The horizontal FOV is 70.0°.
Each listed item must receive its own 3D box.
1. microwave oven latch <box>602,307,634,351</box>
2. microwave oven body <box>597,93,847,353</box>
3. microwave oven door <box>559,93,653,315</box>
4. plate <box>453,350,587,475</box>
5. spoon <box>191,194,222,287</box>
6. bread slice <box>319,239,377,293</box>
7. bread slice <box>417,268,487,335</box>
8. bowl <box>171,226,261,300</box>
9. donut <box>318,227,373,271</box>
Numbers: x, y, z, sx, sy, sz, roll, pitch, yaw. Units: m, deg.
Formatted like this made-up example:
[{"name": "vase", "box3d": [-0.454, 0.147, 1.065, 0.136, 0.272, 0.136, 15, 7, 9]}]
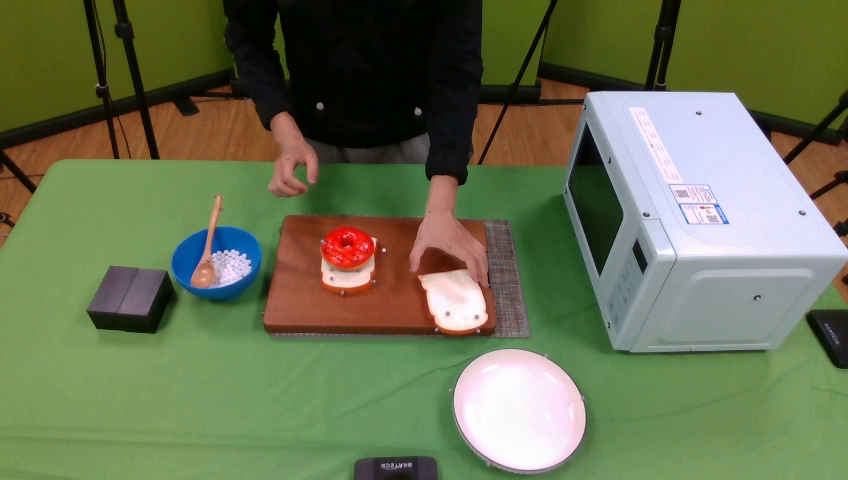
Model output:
[{"name": "microwave oven latch", "box3d": [0.332, 0.153, 1.044, 0.030, 0.029, 0.078, -1, 45, -4]}, {"name": "microwave oven body", "box3d": [0.475, -0.041, 1.109, 0.326, 0.261, 0.438, -1, 45, -4]}, {"name": "microwave oven door", "box3d": [0.327, -0.074, 1.123, 0.039, 0.245, 0.353, -1, 46, -5]}, {"name": "plate", "box3d": [0.147, 0.267, 0.943, 0.208, 0.039, 0.206, 2, 45, -2]}, {"name": "spoon", "box3d": [-0.383, 0.000, 1.088, 0.041, 0.022, 0.193, -1, 66, 6]}, {"name": "bread slice", "box3d": [-0.140, 0.044, 1.111, 0.105, 0.019, 0.130, 0, 44, -3]}, {"name": "bread slice", "box3d": [0.055, 0.107, 1.063, 0.107, 0.018, 0.133, -9, 48, -12]}, {"name": "bowl", "box3d": [-0.363, 0.054, 1.081, 0.151, 0.077, 0.150, 3, 45, -3]}, {"name": "donut", "box3d": [-0.142, 0.016, 1.096, 0.099, 0.048, 0.098, 2, 45, -2]}]
